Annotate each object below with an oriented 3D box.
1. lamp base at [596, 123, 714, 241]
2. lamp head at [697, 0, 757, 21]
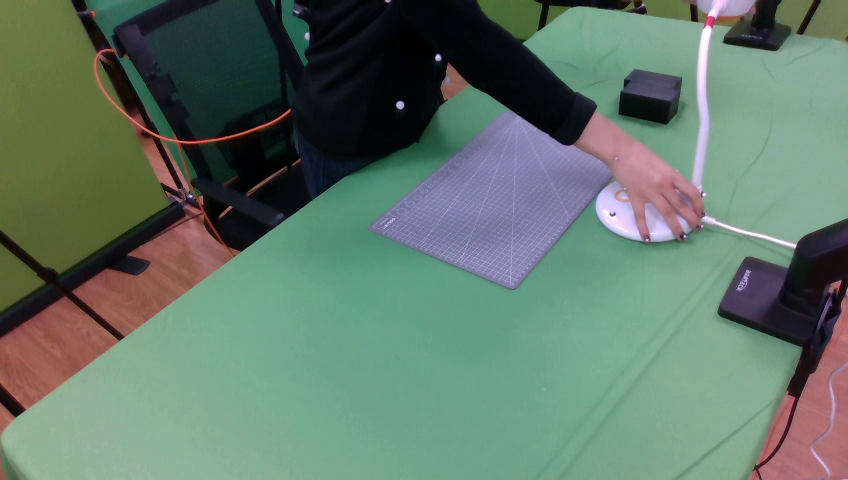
[{"bbox_3d":[0.362,-0.109,0.920,0.178,0.181,0.160,13,46,21],"label":"lamp base"},{"bbox_3d":[0.425,-0.367,0.836,0.112,0.123,0.112,-4,38,3],"label":"lamp head"}]
